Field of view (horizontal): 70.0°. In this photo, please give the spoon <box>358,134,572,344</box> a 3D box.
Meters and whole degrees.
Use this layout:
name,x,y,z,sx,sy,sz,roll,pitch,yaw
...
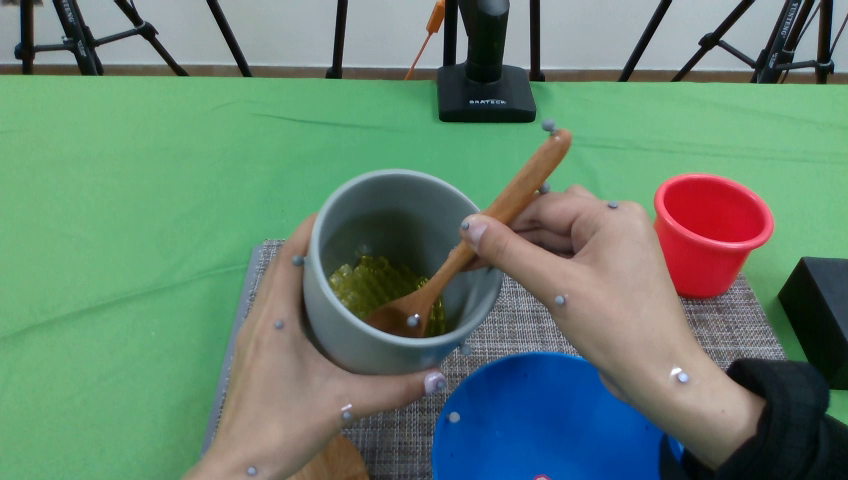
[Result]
name,x,y,z,sx,sy,sz,roll,pitch,yaw
spoon,0.014,0.018,0.333,0.041,0.194,0.021,45,31,9

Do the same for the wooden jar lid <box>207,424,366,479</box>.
name,x,y,z,sx,sy,sz,roll,pitch,yaw
wooden jar lid,-0.090,0.173,0.393,0.108,0.021,0.107,1,43,0

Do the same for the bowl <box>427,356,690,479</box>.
name,x,y,z,sx,sy,sz,roll,pitch,yaw
bowl,0.076,0.155,0.376,0.151,0.077,0.150,1,44,-1

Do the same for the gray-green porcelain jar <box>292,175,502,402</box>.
name,x,y,z,sx,sy,sz,roll,pitch,yaw
gray-green porcelain jar,-0.025,0.038,0.372,0.106,0.127,0.105,8,61,-15
